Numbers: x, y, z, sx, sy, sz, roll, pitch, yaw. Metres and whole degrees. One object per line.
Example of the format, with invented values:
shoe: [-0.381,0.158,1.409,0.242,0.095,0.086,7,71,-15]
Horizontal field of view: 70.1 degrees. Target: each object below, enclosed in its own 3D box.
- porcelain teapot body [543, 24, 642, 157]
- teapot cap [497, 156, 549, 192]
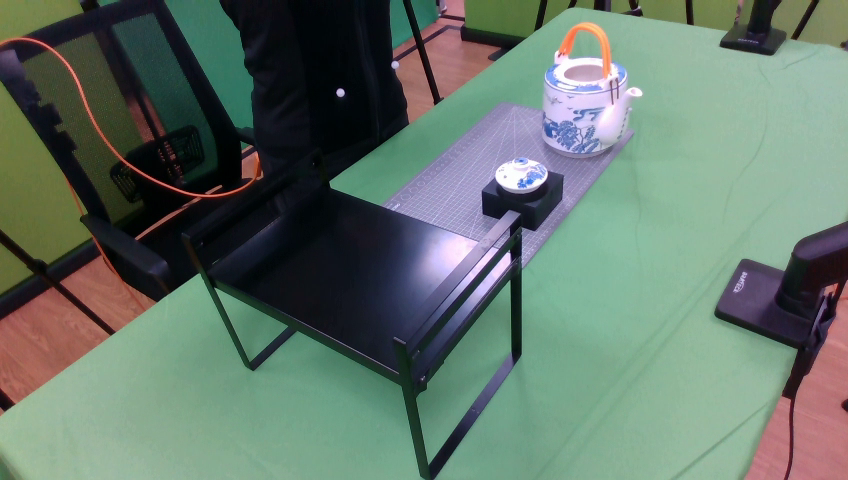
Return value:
porcelain teapot body: [0.305,-0.258,1.070,0.146,0.226,0.203,-26,44,-20]
teapot cap: [0.161,-0.113,0.986,0.085,0.044,0.085,-2,42,2]
